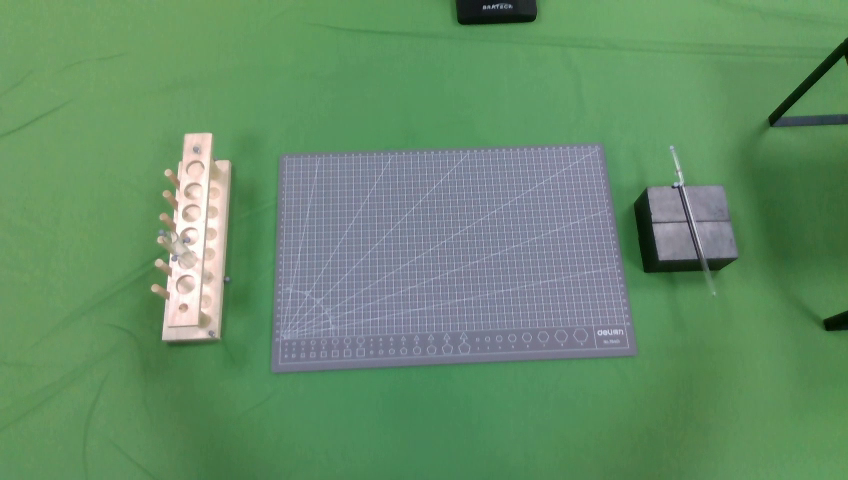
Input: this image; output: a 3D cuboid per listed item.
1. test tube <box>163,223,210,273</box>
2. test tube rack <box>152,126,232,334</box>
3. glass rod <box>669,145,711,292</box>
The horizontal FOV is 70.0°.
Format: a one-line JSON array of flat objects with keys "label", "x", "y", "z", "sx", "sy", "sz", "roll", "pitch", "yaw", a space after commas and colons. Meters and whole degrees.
[{"label": "test tube", "x": -0.266, "y": 0.012, "z": 0.685, "sx": 0.017, "sy": 0.151, "sz": 0.017, "roll": 2, "pitch": 71, "yaw": -6}, {"label": "test tube rack", "x": -0.289, "y": -0.013, "z": 0.747, "sx": 0.067, "sy": 0.085, "sz": 0.240, "roll": -2, "pitch": 71, "yaw": -2}, {"label": "glass rod", "x": 0.333, "y": -0.031, "z": 0.760, "sx": 0.008, "sy": 0.008, "sz": 0.198, "roll": -5, "pitch": 71, "yaw": -3}]
